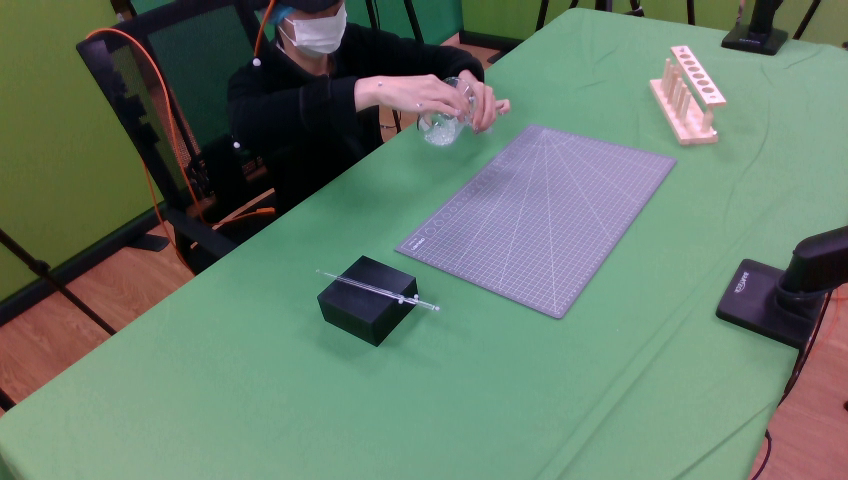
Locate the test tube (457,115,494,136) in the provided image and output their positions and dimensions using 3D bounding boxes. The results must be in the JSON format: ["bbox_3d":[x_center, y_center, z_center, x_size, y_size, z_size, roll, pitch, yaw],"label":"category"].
[{"bbox_3d":[0.096,-0.205,1.090,0.017,0.017,0.151,15,8,26],"label":"test tube"}]

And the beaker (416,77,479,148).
[{"bbox_3d":[0.037,-0.200,0.970,0.073,0.084,0.100,8,46,26],"label":"beaker"}]

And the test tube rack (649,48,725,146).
[{"bbox_3d":[0.508,-0.285,1.186,0.067,0.085,0.241,-4,40,6],"label":"test tube rack"}]

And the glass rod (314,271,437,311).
[{"bbox_3d":[-0.072,0.069,0.837,0.198,0.008,0.008,14,44,24],"label":"glass rod"}]
